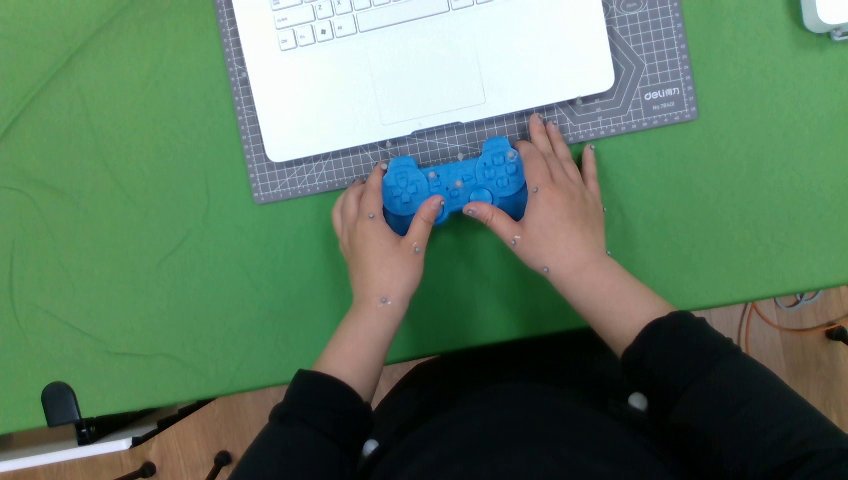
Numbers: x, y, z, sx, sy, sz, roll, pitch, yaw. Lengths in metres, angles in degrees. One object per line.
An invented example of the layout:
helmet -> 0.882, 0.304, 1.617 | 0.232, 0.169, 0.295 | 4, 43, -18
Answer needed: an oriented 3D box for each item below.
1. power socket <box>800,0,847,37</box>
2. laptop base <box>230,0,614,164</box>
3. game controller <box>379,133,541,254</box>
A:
power socket -> 0.368, -0.300, 0.541 | 0.072, 0.032, 0.227 | -9, 93, 8
laptop base -> -0.012, -0.226, 0.595 | 0.354, 0.023, 0.236 | -12, 96, 7
game controller -> 0.031, -0.045, 0.589 | 0.155, 0.051, 0.097 | -11, 90, 6
